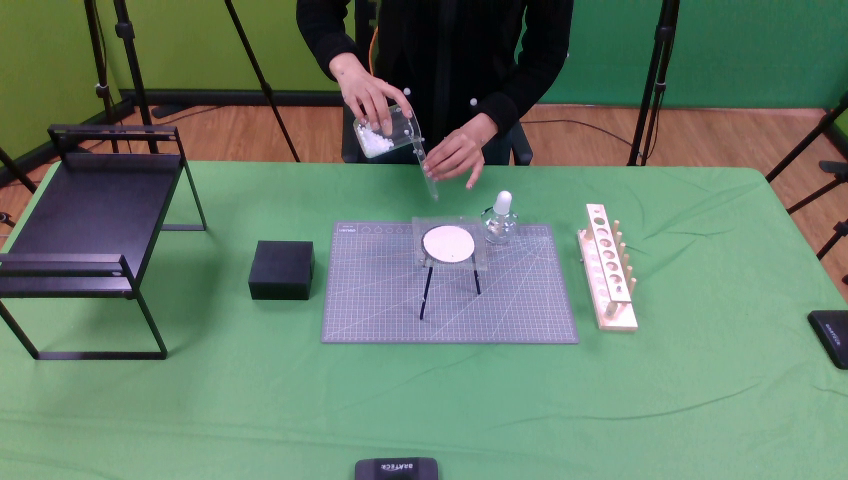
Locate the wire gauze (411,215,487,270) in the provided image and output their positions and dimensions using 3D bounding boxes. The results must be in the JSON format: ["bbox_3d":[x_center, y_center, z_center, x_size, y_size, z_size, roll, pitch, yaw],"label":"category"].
[{"bbox_3d":[0.041,0.002,1.026,0.125,0.011,0.120,1,46,-3],"label":"wire gauze"}]

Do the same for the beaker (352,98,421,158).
[{"bbox_3d":[-0.065,-0.186,1.033,0.100,0.084,0.073,-21,53,-6],"label":"beaker"}]

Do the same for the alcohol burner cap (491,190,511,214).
[{"bbox_3d":[0.151,-0.076,1.166,0.034,0.048,0.033,5,52,-6],"label":"alcohol burner cap"}]

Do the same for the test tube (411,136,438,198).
[{"bbox_3d":[0.003,-0.132,1.123,0.017,0.151,0.017,-10,48,11],"label":"test tube"}]

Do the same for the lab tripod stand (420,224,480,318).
[{"bbox_3d":[0.034,0.051,1.071,0.148,0.132,0.147,3,48,-3],"label":"lab tripod stand"}]

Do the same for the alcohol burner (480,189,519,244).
[{"bbox_3d":[0.150,-0.051,1.191,0.078,0.120,0.077,1,47,-1],"label":"alcohol burner"}]

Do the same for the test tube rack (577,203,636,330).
[{"bbox_3d":[0.348,0.045,1.138,0.067,0.085,0.241,2,46,-2],"label":"test tube rack"}]
